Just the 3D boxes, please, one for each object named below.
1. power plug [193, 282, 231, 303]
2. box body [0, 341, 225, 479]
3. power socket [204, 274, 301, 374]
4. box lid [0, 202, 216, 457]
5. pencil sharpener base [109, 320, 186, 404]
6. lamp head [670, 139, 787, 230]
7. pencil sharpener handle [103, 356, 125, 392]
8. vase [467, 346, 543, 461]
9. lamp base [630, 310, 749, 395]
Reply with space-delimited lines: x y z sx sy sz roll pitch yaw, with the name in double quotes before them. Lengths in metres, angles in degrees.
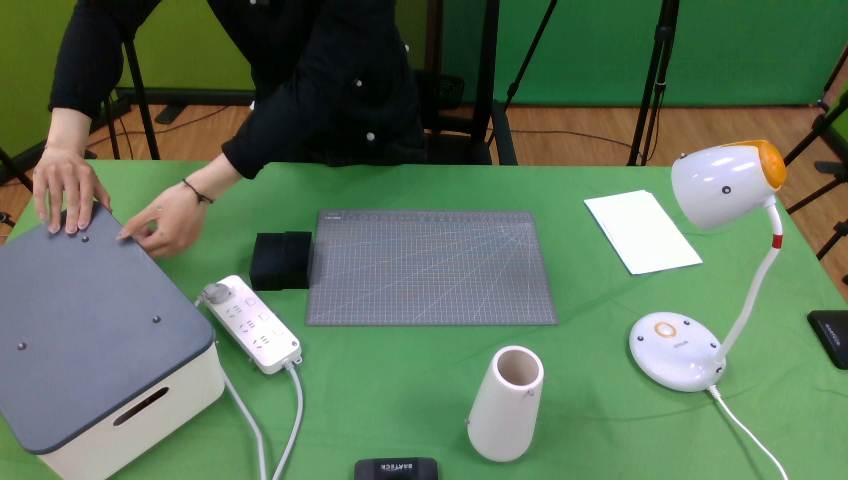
"power plug" -0.368 0.097 1.039 0.072 0.053 0.035 -26 55 -21
"box body" -0.504 0.154 0.917 0.362 0.161 0.254 36 54 27
"power socket" -0.296 0.140 1.035 0.072 0.033 0.225 -32 57 -29
"box lid" -0.502 0.099 0.861 0.369 0.015 0.263 38 57 25
"pencil sharpener base" -0.419 0.187 0.919 0.077 0.107 0.061 -30 54 -27
"lamp head" 0.415 -0.079 0.812 0.113 0.123 0.112 12 70 -37
"pencil sharpener handle" -0.460 0.200 0.887 0.030 0.068 0.036 -30 61 -27
"vase" 0.115 0.235 0.861 0.098 0.201 0.097 1 47 -1
"lamp base" 0.447 0.142 0.984 0.161 0.181 0.178 -24 55 -24
